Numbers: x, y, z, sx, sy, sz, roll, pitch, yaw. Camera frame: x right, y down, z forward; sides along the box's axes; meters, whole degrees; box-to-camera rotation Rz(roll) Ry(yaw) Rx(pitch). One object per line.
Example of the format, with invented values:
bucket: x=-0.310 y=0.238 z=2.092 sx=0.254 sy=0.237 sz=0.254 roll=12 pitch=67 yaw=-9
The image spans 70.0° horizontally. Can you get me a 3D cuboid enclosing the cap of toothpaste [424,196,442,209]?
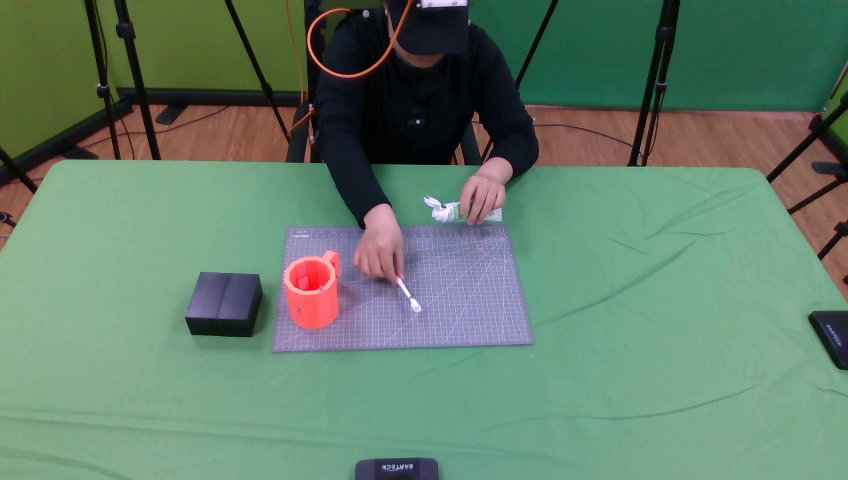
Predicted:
cap of toothpaste: x=0.015 y=-0.069 z=1.119 sx=0.037 sy=0.011 sz=0.037 roll=25 pitch=21 yaw=-11

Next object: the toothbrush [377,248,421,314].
toothbrush: x=-0.049 y=0.070 z=1.112 sx=0.014 sy=0.017 sz=0.180 roll=-33 pitch=47 yaw=-3

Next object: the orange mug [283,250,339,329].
orange mug: x=-0.186 y=0.079 z=1.052 sx=0.083 sy=0.101 sz=0.126 roll=20 pitch=52 yaw=15

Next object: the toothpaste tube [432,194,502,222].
toothpaste tube: x=0.086 y=-0.059 z=1.176 sx=0.165 sy=0.055 sz=0.034 roll=-5 pitch=14 yaw=-32
